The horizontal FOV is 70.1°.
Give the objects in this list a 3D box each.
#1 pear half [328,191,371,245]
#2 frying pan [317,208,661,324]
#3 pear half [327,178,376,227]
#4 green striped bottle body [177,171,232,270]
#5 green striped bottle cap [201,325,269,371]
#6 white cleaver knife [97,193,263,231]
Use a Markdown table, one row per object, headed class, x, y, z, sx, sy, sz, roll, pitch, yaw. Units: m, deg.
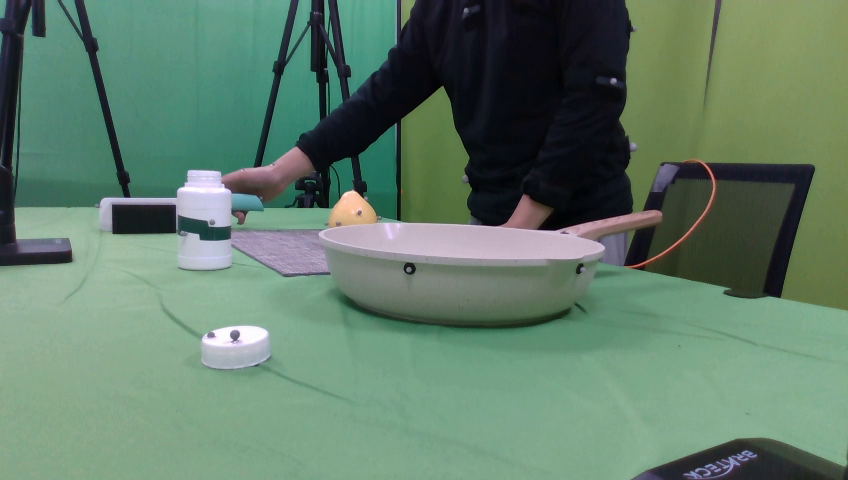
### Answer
| class | x | y | z | sx | sy | sz | roll | pitch | yaw |
| --- | --- | --- | --- | --- | --- | --- | --- | --- | --- |
| pear half | -0.123 | -0.037 | 0.976 | 0.071 | 0.088 | 0.031 | -6 | 11 | -26 |
| frying pan | 0.121 | 0.006 | 0.691 | 0.490 | 0.102 | 0.305 | -13 | 15 | -33 |
| pear half | -0.109 | -0.042 | 0.942 | 0.077 | 0.110 | 0.055 | -7 | 10 | -25 |
| green striped bottle body | -0.273 | -0.026 | 0.752 | 0.063 | 0.119 | 0.063 | 2 | 7 | 0 |
| green striped bottle cap | -0.129 | 0.073 | 0.415 | 0.044 | 0.020 | 0.044 | 3 | 8 | 0 |
| white cleaver knife | -0.444 | -0.053 | 1.121 | 0.288 | 0.066 | 0.021 | -4 | 17 | -27 |
